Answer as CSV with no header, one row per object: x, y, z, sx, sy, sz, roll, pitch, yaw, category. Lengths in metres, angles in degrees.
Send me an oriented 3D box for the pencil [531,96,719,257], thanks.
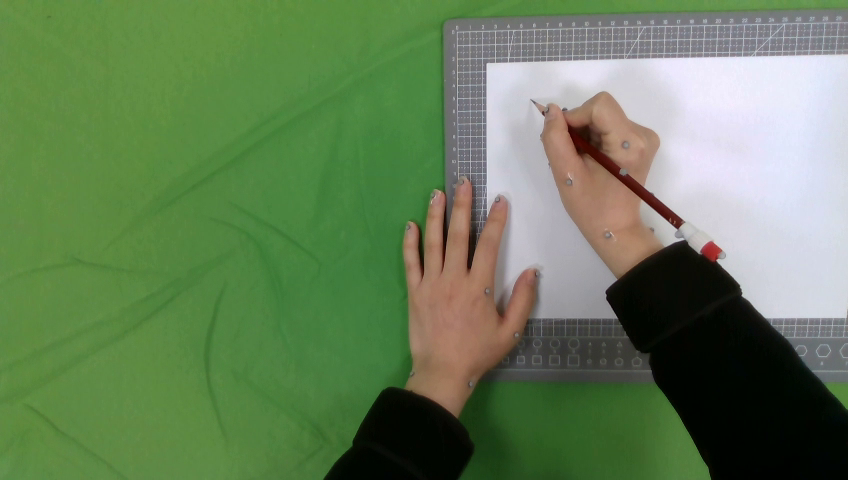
0.130,-0.053,0.422,0.012,0.012,0.192,-44,52,10,pencil
